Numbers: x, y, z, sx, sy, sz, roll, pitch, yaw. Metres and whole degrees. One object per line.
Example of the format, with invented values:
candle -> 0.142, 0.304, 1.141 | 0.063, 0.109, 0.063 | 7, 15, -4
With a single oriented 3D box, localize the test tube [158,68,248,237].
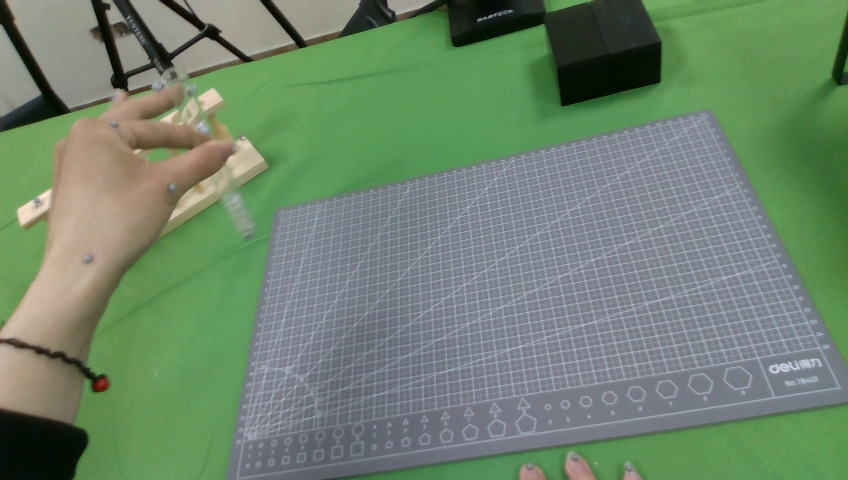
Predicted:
test tube -> -0.154, -0.055, 0.435 | 0.017, 0.151, 0.017 | -2, 49, 3

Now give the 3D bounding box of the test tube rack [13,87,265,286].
test tube rack -> -0.310, -0.061, 0.674 | 0.242, 0.086, 0.066 | -36, 50, -11
